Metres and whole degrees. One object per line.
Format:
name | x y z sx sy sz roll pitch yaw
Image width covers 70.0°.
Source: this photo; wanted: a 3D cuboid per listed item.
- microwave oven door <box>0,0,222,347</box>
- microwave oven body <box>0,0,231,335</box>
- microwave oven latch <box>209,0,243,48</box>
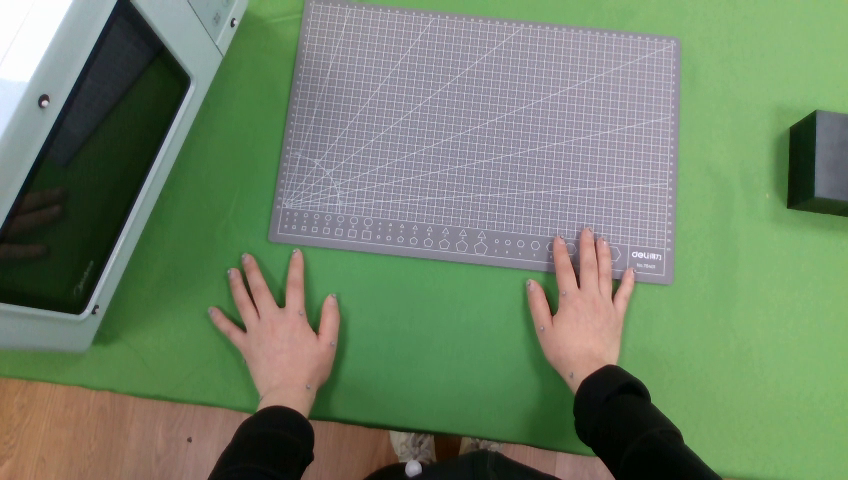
microwave oven door | -0.304 -0.078 0.545 0.039 0.244 0.354 20 79 3
microwave oven body | -0.427 -0.166 0.563 0.326 0.261 0.440 20 80 2
microwave oven latch | -0.228 -0.260 0.683 0.030 0.029 0.079 21 80 2
